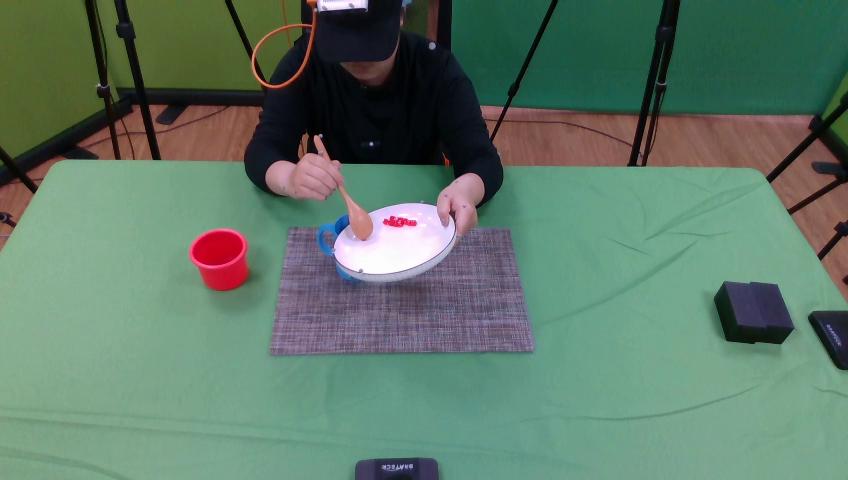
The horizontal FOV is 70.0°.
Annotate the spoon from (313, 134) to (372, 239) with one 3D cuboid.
[{"bbox_3d":[-0.142,-0.089,1.027,0.041,0.021,0.194,-29,93,-23],"label":"spoon"}]

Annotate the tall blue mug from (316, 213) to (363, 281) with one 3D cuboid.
[{"bbox_3d":[-0.142,0.014,1.109,0.107,0.108,0.077,-5,47,-9],"label":"tall blue mug"}]

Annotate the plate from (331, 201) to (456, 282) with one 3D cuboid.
[{"bbox_3d":[-0.048,0.006,0.999,0.207,0.039,0.206,-9,33,6],"label":"plate"}]
